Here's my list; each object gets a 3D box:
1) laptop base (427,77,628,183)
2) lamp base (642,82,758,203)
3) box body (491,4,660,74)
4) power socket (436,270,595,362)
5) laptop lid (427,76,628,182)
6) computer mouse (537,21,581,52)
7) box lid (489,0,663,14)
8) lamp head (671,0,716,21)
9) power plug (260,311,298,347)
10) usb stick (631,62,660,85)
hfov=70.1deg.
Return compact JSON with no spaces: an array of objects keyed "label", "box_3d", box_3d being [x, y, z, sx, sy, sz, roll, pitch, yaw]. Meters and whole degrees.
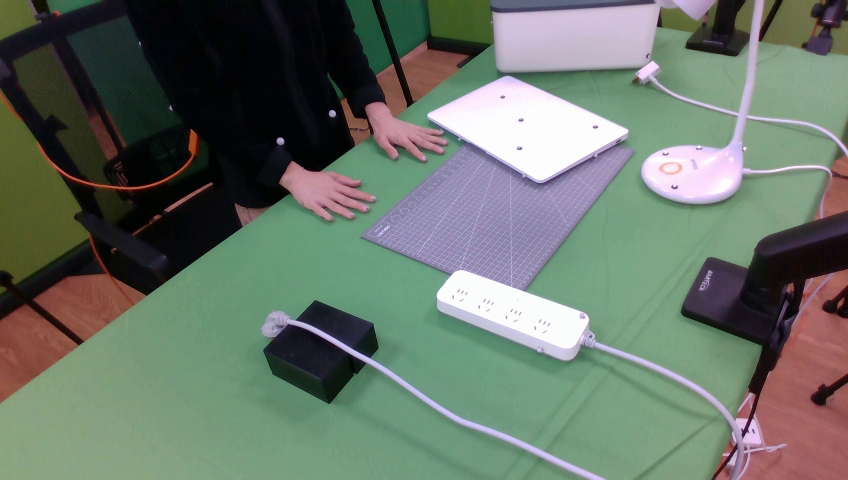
[{"label":"laptop base","box_3d":[0.199,-0.229,1.222,0.236,0.023,0.351,-31,45,-22]},{"label":"lamp base","box_3d":[0.464,-0.174,0.992,0.179,0.181,0.159,-5,41,-1]},{"label":"box body","box_3d":[0.346,-0.520,1.429,0.363,0.161,0.253,0,41,9]},{"label":"power socket","box_3d":[0.118,0.101,0.832,0.225,0.033,0.072,19,48,27]},{"label":"laptop lid","box_3d":[0.196,-0.237,1.213,0.242,0.013,0.353,-29,44,-21]},{"label":"computer mouse","box_3d":[0.335,-0.503,1.487,0.118,0.041,0.062,22,18,-28]},{"label":"box lid","box_3d":[0.340,-0.575,1.380,0.371,0.015,0.262,0,41,9]},{"label":"lamp head","box_3d":[0.375,-0.373,0.807,0.122,0.113,0.112,-40,27,32]},{"label":"power plug","box_3d":[-0.198,0.127,0.822,0.035,0.053,0.072,-17,23,-30]},{"label":"usb stick","box_3d":[0.480,-0.358,1.317,0.059,0.022,0.027,-35,56,14]}]
